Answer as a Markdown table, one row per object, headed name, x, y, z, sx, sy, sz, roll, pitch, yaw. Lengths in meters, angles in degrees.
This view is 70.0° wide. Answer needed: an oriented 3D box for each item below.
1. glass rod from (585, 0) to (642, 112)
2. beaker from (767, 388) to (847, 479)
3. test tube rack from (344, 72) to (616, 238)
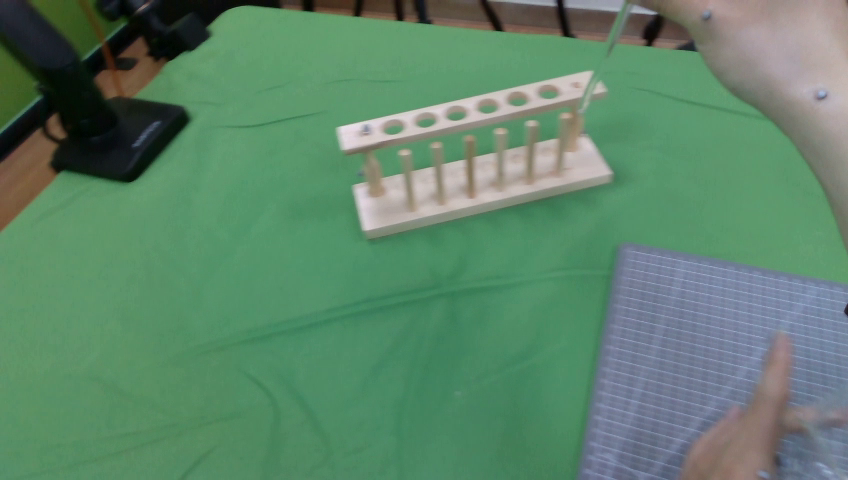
| name | x | y | z | sx | sy | sz | roll | pitch | yaw |
| --- | --- | --- | --- | --- | --- | --- | --- | --- | --- |
| glass rod | 0.126 | -0.144 | 0.353 | 0.008 | 0.201 | 0.008 | 2 | 59 | -3 |
| beaker | 0.244 | 0.135 | 0.344 | 0.083 | 0.101 | 0.073 | 20 | 55 | 23 |
| test tube rack | 0.056 | -0.079 | 0.564 | 0.242 | 0.086 | 0.066 | -13 | 50 | -4 |
